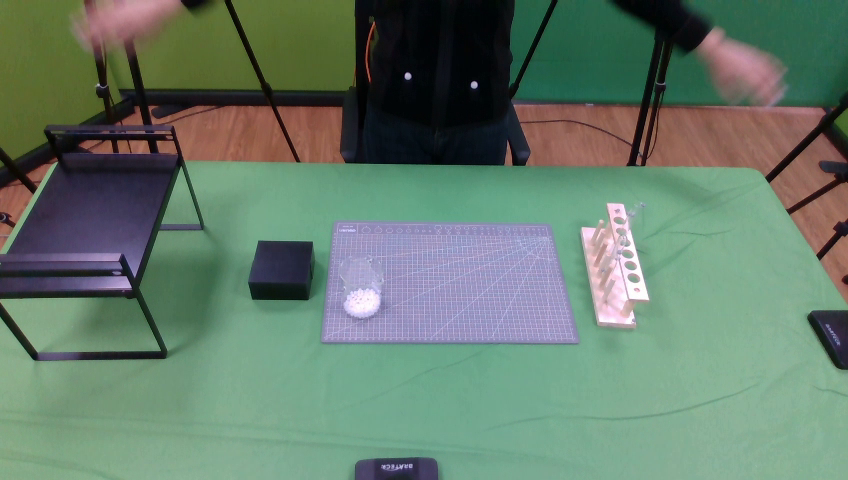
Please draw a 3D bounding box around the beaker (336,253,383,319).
[{"bbox_3d":[-0.108,0.084,1.052,0.084,0.101,0.074,25,50,17],"label":"beaker"}]

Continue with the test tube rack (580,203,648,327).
[{"bbox_3d":[0.352,0.040,1.143,0.067,0.085,0.241,4,46,0],"label":"test tube rack"}]

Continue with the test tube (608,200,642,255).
[{"bbox_3d":[0.374,-0.020,1.134,0.017,0.151,0.017,3,51,-3],"label":"test tube"}]

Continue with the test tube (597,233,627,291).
[{"bbox_3d":[0.334,0.041,1.079,0.017,0.151,0.017,2,48,-2],"label":"test tube"}]
